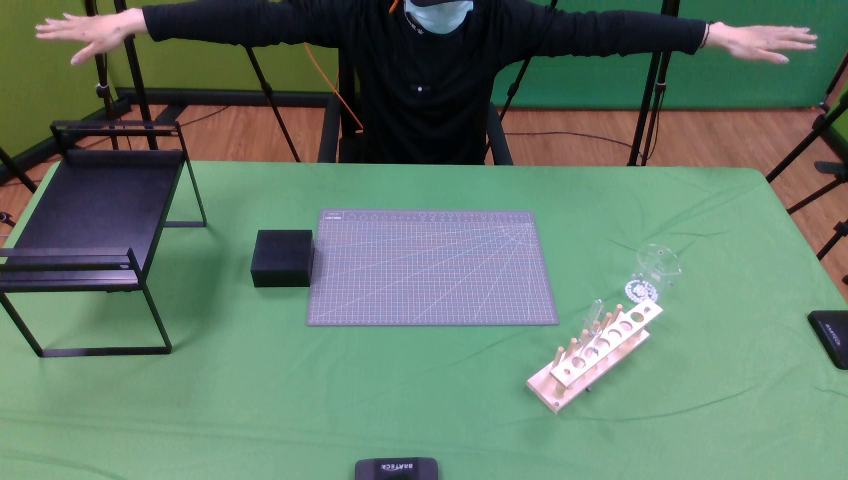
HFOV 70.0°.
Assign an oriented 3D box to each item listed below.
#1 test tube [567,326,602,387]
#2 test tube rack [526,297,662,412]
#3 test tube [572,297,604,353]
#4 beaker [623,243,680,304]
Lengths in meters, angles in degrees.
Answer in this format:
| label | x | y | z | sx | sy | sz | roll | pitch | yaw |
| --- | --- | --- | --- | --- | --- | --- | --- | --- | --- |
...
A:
| label | x | y | z | sx | sy | sz | roll | pitch | yaw |
| --- | --- | --- | --- | --- | --- | --- | --- | --- | --- |
| test tube | 0.243 | 0.182 | 0.930 | 0.017 | 0.151 | 0.017 | 5 | 45 | -5 |
| test tube rack | 0.284 | 0.176 | 1.007 | 0.242 | 0.085 | 0.066 | -28 | 54 | -27 |
| test tube | 0.263 | 0.141 | 0.977 | 0.017 | 0.151 | 0.017 | 2 | 47 | -2 |
| beaker | 0.414 | 0.067 | 1.111 | 0.083 | 0.101 | 0.074 | 31 | 52 | 22 |
